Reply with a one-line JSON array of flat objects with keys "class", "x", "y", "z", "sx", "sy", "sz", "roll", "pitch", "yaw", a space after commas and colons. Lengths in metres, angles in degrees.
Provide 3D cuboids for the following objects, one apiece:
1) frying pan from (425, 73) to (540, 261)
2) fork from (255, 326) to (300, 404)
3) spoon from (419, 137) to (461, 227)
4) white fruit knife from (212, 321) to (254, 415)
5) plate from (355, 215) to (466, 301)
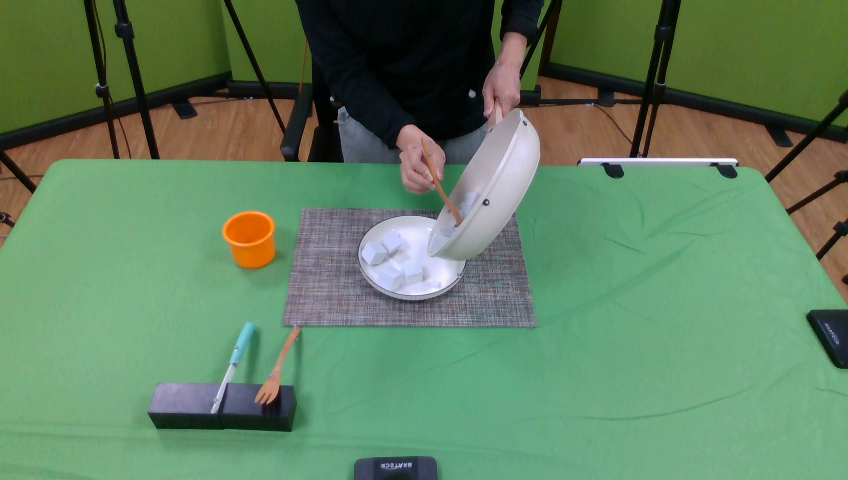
[{"class": "frying pan", "x": 0.120, "y": -0.163, "z": 1.104, "sx": 0.103, "sy": 0.307, "sz": 0.485, "roll": 25, "pitch": 49, "yaw": -15}, {"class": "fork", "x": -0.226, "y": 0.192, "z": 0.955, "sx": 0.028, "sy": 0.019, "sz": 0.206, "roll": -3, "pitch": 27, "yaw": 5}, {"class": "spoon", "x": 0.029, "y": -0.088, "z": 1.052, "sx": 0.021, "sy": 0.194, "sz": 0.041, "roll": -22, "pitch": 21, "yaw": 11}, {"class": "white fruit knife", "x": -0.298, "y": 0.193, "z": 0.947, "sx": 0.016, "sy": 0.027, "sz": 0.206, "roll": 2, "pitch": 31, "yaw": -1}, {"class": "plate", "x": -0.025, "y": 0.037, "z": 1.143, "sx": 0.208, "sy": 0.039, "sz": 0.206, "roll": 3, "pitch": 46, "yaw": -3}]
